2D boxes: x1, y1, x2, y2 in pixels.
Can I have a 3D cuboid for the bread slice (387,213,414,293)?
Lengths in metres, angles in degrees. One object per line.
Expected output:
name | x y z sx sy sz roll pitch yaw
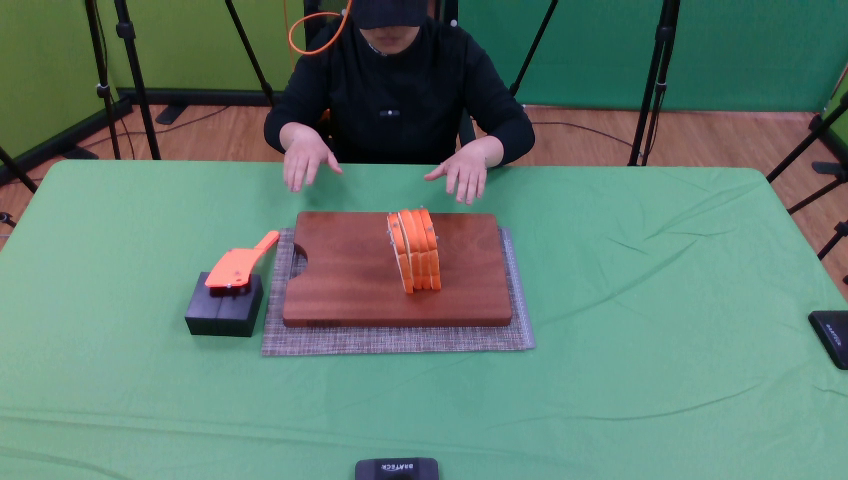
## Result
bread slice | -0.043 0.016 1.067 0.019 0.132 0.104 -15 46 -4

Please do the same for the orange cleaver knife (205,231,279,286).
orange cleaver knife | -0.328 0.031 1.109 0.077 0.012 0.210 5 27 7

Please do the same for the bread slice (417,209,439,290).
bread slice | 0.007 0.012 1.073 0.018 0.135 0.106 -11 51 -7
